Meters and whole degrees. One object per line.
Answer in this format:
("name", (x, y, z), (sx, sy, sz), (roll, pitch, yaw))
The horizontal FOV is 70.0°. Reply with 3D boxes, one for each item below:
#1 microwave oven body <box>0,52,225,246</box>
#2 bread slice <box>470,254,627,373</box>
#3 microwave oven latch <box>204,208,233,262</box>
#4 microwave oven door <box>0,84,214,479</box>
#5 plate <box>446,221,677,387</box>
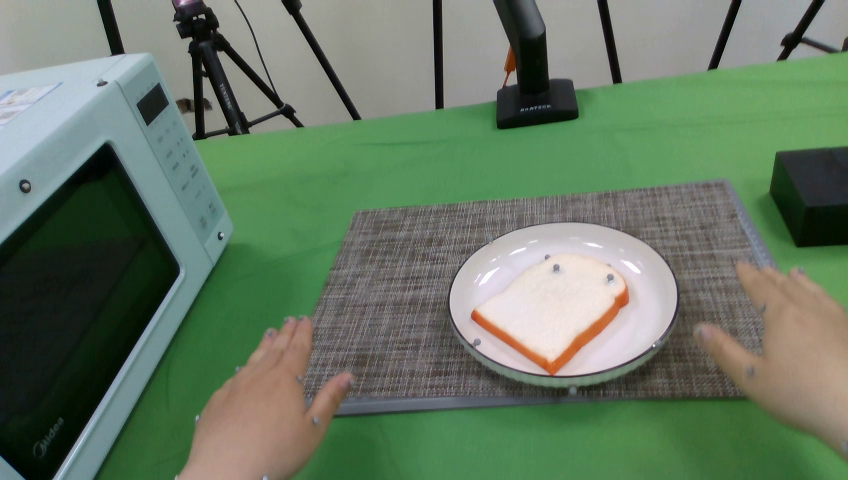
("microwave oven body", (-0.446, 0.042, 0.587), (0.325, 0.263, 0.437), (-5, 38, 11))
("bread slice", (0.123, 0.058, 0.573), (0.131, 0.019, 0.104), (-34, 41, -26))
("microwave oven latch", (-0.265, -0.005, 0.755), (0.030, 0.030, 0.078), (-4, 38, 12))
("microwave oven door", (-0.307, 0.050, 0.524), (0.039, 0.246, 0.352), (-6, 37, 11))
("plate", (0.126, 0.058, 0.570), (0.209, 0.038, 0.207), (-9, 37, 7))
